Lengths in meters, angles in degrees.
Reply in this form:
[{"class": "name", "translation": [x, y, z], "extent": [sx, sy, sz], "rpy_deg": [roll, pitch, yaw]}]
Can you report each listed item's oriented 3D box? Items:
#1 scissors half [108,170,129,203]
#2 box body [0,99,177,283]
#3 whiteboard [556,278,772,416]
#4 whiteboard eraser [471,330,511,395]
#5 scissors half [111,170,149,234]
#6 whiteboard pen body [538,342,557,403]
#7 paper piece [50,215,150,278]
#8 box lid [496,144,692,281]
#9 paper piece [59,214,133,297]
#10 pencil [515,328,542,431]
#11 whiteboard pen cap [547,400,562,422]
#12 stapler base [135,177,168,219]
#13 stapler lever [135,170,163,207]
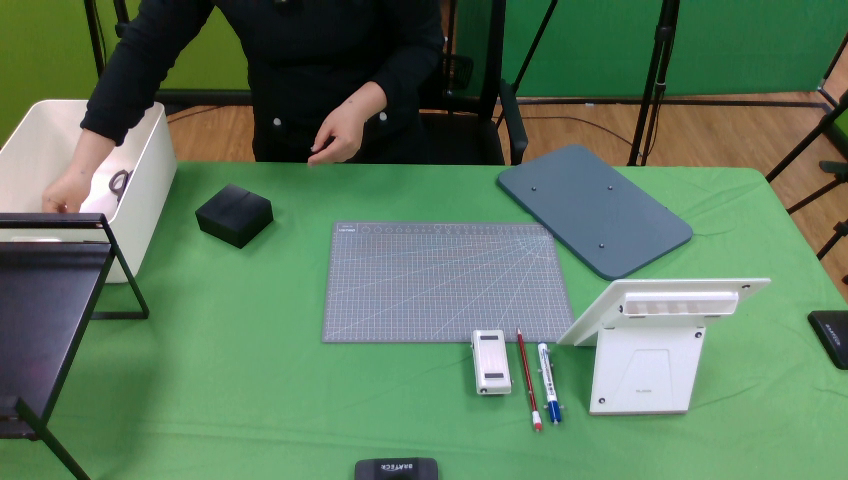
[{"class": "scissors half", "translation": [-0.618, -0.077, 1.222], "extent": [0.040, 0.013, 0.174], "rpy_deg": [-14, 52, -9]}, {"class": "box body", "translation": [-0.639, -0.095, 1.140], "extent": [0.254, 0.161, 0.361], "rpy_deg": [0, 46, -4]}, {"class": "whiteboard", "translation": [0.347, 0.174, 0.903], "extent": [0.217, 0.306, 0.143], "rpy_deg": [1, 65, -4]}, {"class": "whiteboard eraser", "translation": [0.110, 0.202, 0.998], "extent": [0.055, 0.042, 0.112], "rpy_deg": [1, 46, -5]}, {"class": "scissors half", "translation": [-0.597, -0.078, 1.224], "extent": [0.040, 0.013, 0.174], "rpy_deg": [7, 51, 1]}, {"class": "whiteboard pen body", "translation": [0.205, 0.228, 0.997], "extent": [0.017, 0.017, 0.140], "rpy_deg": [1, 47, -3]}, {"class": "paper piece", "translation": [-0.594, 0.011, 1.119], "extent": [0.136, 0.004, 0.135], "rpy_deg": [10, 43, -13]}, {"class": "box lid", "translation": [0.360, -0.074, 1.305], "extent": [0.263, 0.015, 0.369], "rpy_deg": [-24, 52, -25]}, {"class": "paper piece", "translation": [-0.602, 0.027, 1.130], "extent": [0.136, 0.008, 0.137], "rpy_deg": [26, 45, -24]}, {"class": "pencil", "translation": [0.169, 0.224, 1.002], "extent": [0.012, 0.012, 0.192], "rpy_deg": [-1, 46, -6]}, {"class": "whiteboard pen cap", "translation": [0.205, 0.269, 0.956], "extent": [0.018, 0.018, 0.033], "rpy_deg": [0, 47, -5]}, {"class": "stapler base", "translation": [-0.557, -0.092, 1.237], "extent": [0.041, 0.024, 0.129], "rpy_deg": [3, 39, -10]}, {"class": "stapler lever", "translation": [-0.555, -0.112, 1.222], "extent": [0.027, 0.040, 0.117], "rpy_deg": [3, 39, -10]}]
